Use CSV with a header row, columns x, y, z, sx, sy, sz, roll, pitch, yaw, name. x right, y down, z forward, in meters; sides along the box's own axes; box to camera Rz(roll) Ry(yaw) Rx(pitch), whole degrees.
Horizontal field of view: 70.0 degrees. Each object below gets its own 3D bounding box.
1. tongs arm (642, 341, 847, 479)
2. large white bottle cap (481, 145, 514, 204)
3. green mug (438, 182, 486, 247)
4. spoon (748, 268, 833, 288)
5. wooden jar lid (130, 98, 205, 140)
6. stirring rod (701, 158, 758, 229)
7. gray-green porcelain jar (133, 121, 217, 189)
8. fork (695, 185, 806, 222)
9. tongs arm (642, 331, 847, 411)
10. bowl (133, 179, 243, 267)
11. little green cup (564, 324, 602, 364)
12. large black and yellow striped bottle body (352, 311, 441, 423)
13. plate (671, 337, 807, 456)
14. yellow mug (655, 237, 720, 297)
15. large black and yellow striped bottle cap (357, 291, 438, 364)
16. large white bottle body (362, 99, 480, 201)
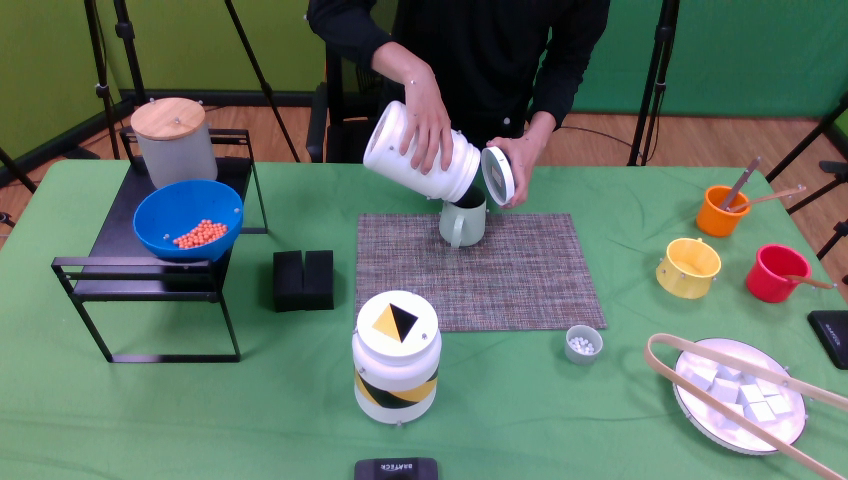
x,y,z,sx,sy,sz,roll,pitch,yaw,name
0.504,0.278,0.917,0.386,0.028,0.028,34,58,22,tongs arm
0.138,-0.125,1.154,0.018,0.115,0.114,-19,50,-11,large white bottle cap
0.072,-0.039,1.178,0.092,0.105,0.124,12,47,7,green mug
0.660,0.068,1.097,0.041,0.193,0.021,-3,91,-6,spoon
-0.393,-0.183,0.934,0.108,0.021,0.107,2,43,-2,wooden jar lid
0.634,-0.096,1.257,0.014,0.006,0.176,38,97,29,stirring rod
-0.397,-0.141,0.980,0.106,0.127,0.105,2,47,-2,gray-green porcelain jar
0.658,-0.074,1.230,0.207,0.019,0.028,-23,36,37,fork
0.546,0.227,0.968,0.384,0.026,0.050,22,52,13,tongs arm
-0.339,-0.013,0.895,0.151,0.077,0.150,2,46,-2,bowl
0.269,0.179,1.035,0.061,0.039,0.061,2,45,-2,little green cup
-0.042,0.178,0.912,0.131,0.185,0.130,2,46,-2,large black and yellow striped bottle body
0.503,0.254,0.984,0.208,0.039,0.206,2,46,-2,plate
0.509,0.041,1.167,0.099,0.064,0.130,24,48,18,yellow mug
-0.037,0.121,0.851,0.115,0.019,0.114,2,46,-1,large black and yellow striped bottle cap
-0.005,-0.156,1.091,0.185,0.131,0.130,24,44,-16,large white bottle body
